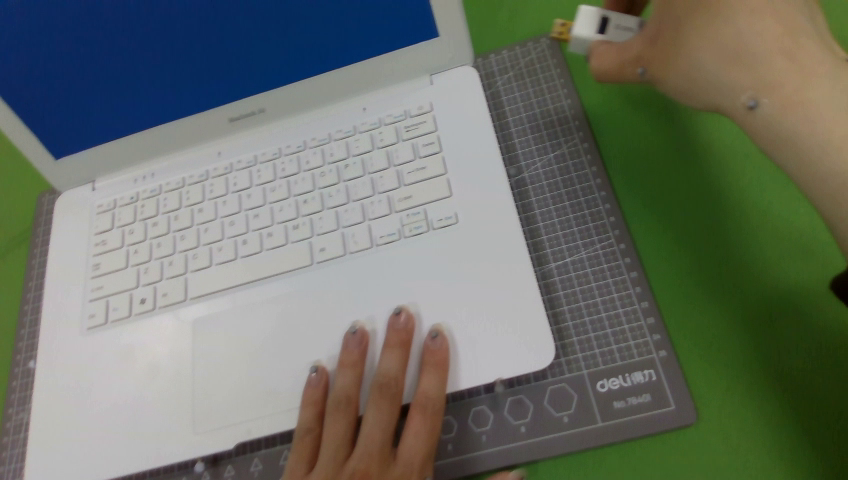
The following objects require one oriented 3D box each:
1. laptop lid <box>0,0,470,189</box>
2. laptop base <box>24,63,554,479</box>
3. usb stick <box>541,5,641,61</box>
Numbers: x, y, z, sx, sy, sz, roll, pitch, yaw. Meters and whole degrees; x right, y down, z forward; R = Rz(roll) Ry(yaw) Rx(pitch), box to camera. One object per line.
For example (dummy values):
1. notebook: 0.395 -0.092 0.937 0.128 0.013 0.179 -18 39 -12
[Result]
1. laptop lid: -0.164 -0.163 0.396 0.356 0.244 0.013 -17 44 8
2. laptop base: -0.110 0.018 0.424 0.354 0.023 0.233 -16 65 7
3. usb stick: 0.102 -0.129 0.376 0.059 0.027 0.021 13 85 17
